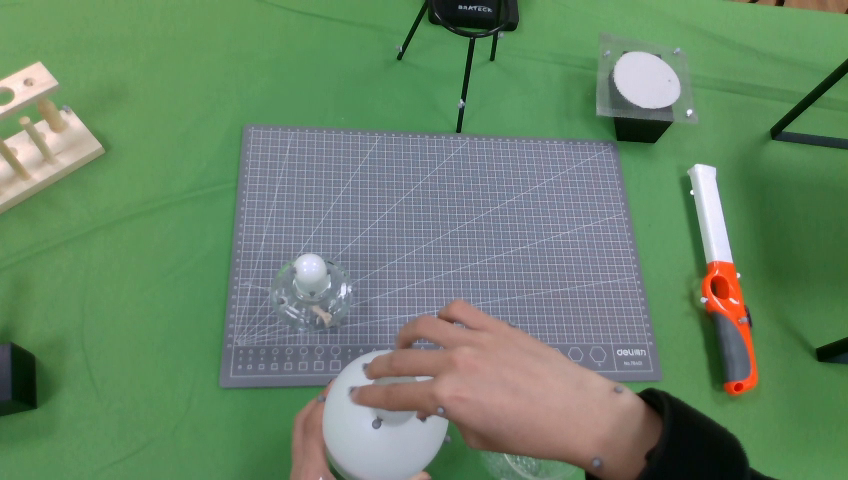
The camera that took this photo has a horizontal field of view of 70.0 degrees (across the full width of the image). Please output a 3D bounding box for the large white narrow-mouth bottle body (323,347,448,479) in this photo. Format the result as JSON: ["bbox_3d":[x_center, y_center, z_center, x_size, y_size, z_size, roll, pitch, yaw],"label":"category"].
[{"bbox_3d":[-0.032,0.142,0.496,0.102,0.195,0.101,3,65,-7],"label":"large white narrow-mouth bottle body"}]

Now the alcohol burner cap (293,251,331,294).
[{"bbox_3d":[-0.101,0.027,0.537,0.034,0.048,0.033,2,71,-4],"label":"alcohol burner cap"}]

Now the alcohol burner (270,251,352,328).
[{"bbox_3d":[-0.106,0.041,0.570,0.078,0.119,0.077,4,64,-9],"label":"alcohol burner"}]

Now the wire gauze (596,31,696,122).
[{"bbox_3d":[0.268,-0.199,0.740,0.122,0.011,0.124,8,65,-5],"label":"wire gauze"}]

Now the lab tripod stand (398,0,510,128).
[{"bbox_3d":[0.042,-0.227,0.703,0.149,0.132,0.147,4,67,-9],"label":"lab tripod stand"}]

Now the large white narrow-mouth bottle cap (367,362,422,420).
[{"bbox_3d":[-0.021,0.103,0.413,0.038,0.024,0.037,3,65,-7],"label":"large white narrow-mouth bottle cap"}]

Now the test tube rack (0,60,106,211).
[{"bbox_3d":[-0.448,-0.067,0.582,0.242,0.085,0.066,-39,77,-22],"label":"test tube rack"}]

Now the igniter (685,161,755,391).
[{"bbox_3d":[0.336,0.033,0.692,0.057,0.025,0.274,8,66,-17],"label":"igniter"}]

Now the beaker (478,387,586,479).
[{"bbox_3d":[0.090,0.180,0.551,0.084,0.101,0.073,7,65,-5],"label":"beaker"}]
